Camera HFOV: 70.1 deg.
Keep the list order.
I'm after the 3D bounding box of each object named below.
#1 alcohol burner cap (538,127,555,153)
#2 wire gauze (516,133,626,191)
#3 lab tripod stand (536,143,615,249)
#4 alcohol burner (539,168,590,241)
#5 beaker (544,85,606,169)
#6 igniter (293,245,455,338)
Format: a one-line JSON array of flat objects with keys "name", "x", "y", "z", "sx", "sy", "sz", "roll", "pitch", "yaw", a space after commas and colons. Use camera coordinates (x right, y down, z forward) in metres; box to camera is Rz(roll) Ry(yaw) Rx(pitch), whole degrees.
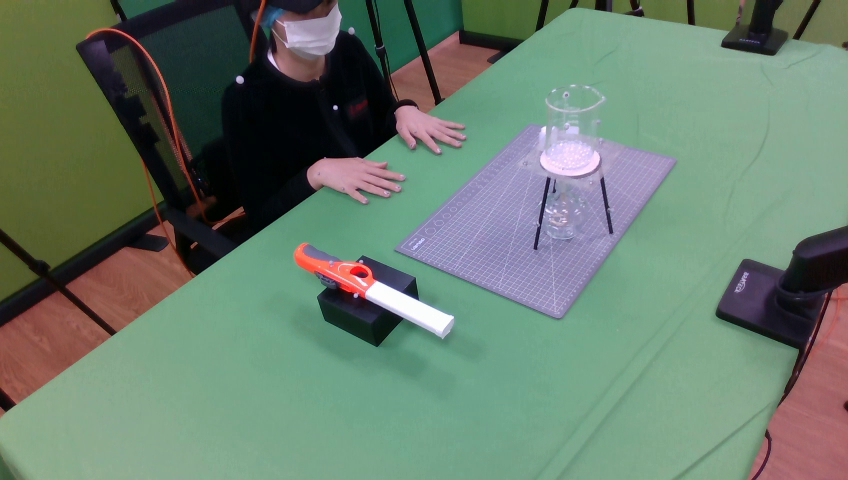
[{"name": "alcohol burner cap", "x": 0.234, "y": -0.191, "z": 1.147, "sx": 0.034, "sy": 0.048, "sz": 0.033, "roll": -5, "pitch": 40, "yaw": 5}, {"name": "wire gauze", "x": 0.217, "y": -0.122, "z": 0.893, "sx": 0.124, "sy": 0.011, "sz": 0.122, "roll": 20, "pitch": 47, "yaw": 32}, {"name": "lab tripod stand", "x": 0.224, "y": -0.069, "z": 0.931, "sx": 0.148, "sy": 0.132, "sz": 0.147, "roll": -4, "pitch": 42, "yaw": 4}, {"name": "alcohol burner", "x": 0.217, "y": -0.059, "z": 0.935, "sx": 0.078, "sy": 0.119, "sz": 0.077, "roll": -6, "pitch": 40, "yaw": 6}, {"name": "beaker", "x": 0.212, "y": -0.158, "z": 0.861, "sx": 0.084, "sy": 0.101, "sz": 0.073, "roll": -3, "pitch": 41, "yaw": 6}, {"name": "igniter", "x": -0.079, "y": 0.065, "z": 0.833, "sx": 0.274, "sy": 0.025, "sz": 0.057, "roll": 23, "pitch": 48, "yaw": 27}]
